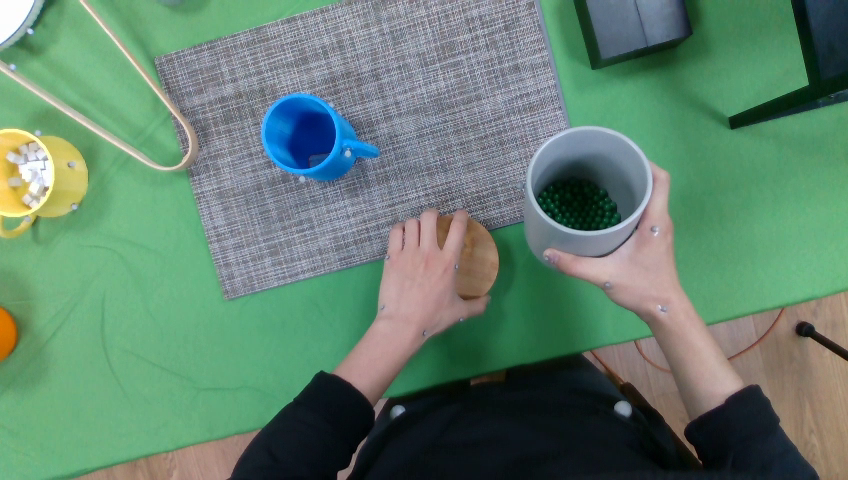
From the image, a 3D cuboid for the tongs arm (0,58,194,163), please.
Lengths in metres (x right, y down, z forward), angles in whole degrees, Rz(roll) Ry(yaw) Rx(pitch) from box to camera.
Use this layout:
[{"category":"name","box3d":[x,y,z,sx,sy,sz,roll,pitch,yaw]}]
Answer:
[{"category":"tongs arm","box3d":[-0.445,-0.199,0.695,0.386,0.026,0.051,36,91,-7]}]

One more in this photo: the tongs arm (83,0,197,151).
[{"category":"tongs arm","box3d":[-0.389,-0.262,0.692,0.028,0.027,0.388,-40,98,-4]}]

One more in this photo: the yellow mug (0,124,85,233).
[{"category":"yellow mug","box3d":[-0.471,-0.068,0.710,0.100,0.064,0.131,23,96,0]}]

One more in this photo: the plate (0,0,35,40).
[{"category":"plate","box3d":[-0.545,-0.325,0.710,0.207,0.039,0.208,0,94,3]}]

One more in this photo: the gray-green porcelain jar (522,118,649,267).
[{"category":"gray-green porcelain jar","box3d":[0.146,-0.038,0.574,0.106,0.127,0.105,-2,69,7]}]

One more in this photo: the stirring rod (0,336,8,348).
[{"category":"stirring rod","box3d":[-0.579,0.126,0.688,0.006,0.177,0.014,-22,74,47]}]

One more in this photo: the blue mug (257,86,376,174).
[{"category":"blue mug","box3d":[-0.110,-0.115,0.668,0.116,0.106,0.082,10,93,2]}]

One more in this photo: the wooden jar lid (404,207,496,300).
[{"category":"wooden jar lid","box3d":[0.031,0.015,0.709,0.108,0.020,0.108,1,97,10]}]

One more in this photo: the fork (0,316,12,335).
[{"category":"fork","box3d":[-0.592,0.110,0.684,0.208,0.018,0.028,-4,93,-41]}]
